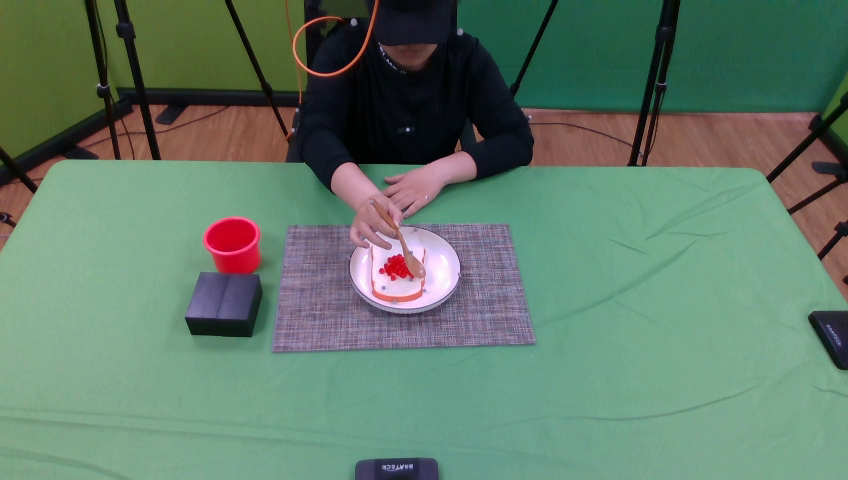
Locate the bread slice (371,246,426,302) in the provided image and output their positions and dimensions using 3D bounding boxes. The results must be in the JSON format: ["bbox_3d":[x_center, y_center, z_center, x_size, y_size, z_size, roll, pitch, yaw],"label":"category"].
[{"bbox_3d":[-0.047,0.060,1.123,0.105,0.019,0.130,1,46,-3],"label":"bread slice"}]

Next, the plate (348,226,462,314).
[{"bbox_3d":[-0.035,0.058,1.123,0.209,0.038,0.208,2,46,-2],"label":"plate"}]

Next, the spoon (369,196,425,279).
[{"bbox_3d":[-0.044,-0.004,1.044,0.021,0.195,0.041,-11,39,22],"label":"spoon"}]
